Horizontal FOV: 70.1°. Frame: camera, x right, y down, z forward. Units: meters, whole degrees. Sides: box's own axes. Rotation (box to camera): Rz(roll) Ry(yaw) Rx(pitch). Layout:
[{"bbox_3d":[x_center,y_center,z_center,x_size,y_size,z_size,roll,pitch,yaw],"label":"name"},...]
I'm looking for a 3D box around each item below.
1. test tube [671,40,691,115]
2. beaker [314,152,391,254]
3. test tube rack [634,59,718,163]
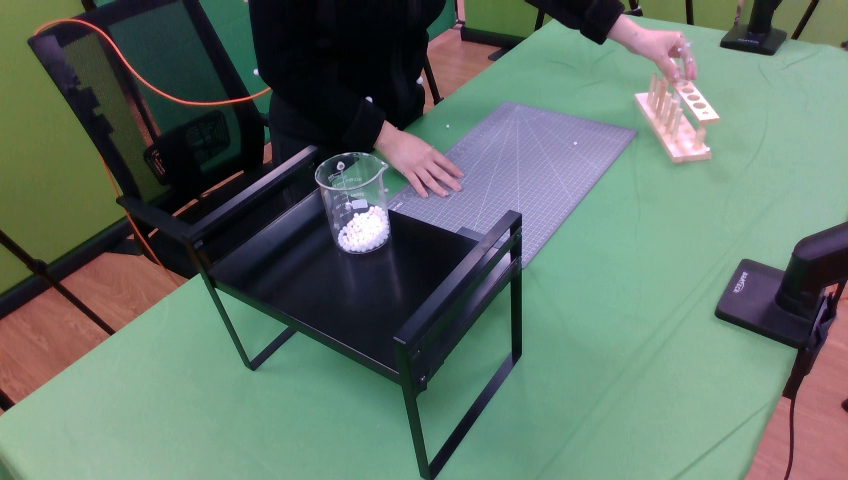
[{"bbox_3d":[0.477,-0.299,1.126,0.017,0.151,0.017,-5,43,5],"label":"test tube"},{"bbox_3d":[-0.076,-0.041,0.697,0.084,0.101,0.073,-15,41,-10],"label":"beaker"},{"bbox_3d":[0.471,-0.250,1.148,0.067,0.085,0.241,-6,40,3],"label":"test tube rack"}]
